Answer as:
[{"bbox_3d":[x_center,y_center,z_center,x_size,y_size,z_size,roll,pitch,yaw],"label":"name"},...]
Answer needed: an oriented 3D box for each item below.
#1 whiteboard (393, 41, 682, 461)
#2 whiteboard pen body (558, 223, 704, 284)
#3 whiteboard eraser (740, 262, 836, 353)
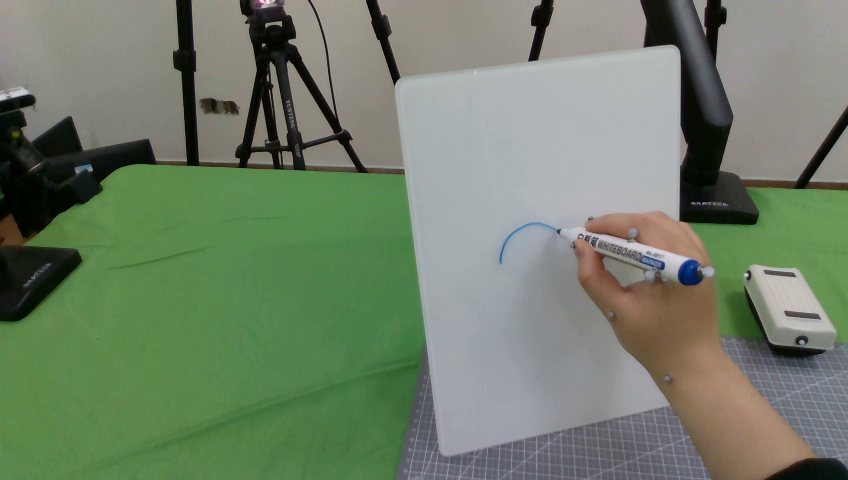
[{"bbox_3d":[0.088,0.000,0.532,0.217,0.307,0.143,-9,16,-9],"label":"whiteboard"},{"bbox_3d":[0.127,0.004,0.400,0.017,0.017,0.139,-15,16,-17],"label":"whiteboard pen body"},{"bbox_3d":[0.357,0.066,0.602,0.055,0.042,0.112,3,31,11],"label":"whiteboard eraser"}]
